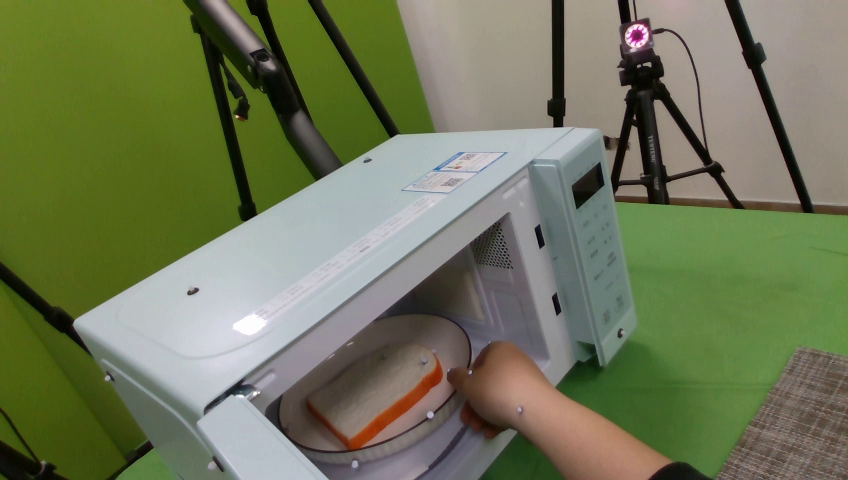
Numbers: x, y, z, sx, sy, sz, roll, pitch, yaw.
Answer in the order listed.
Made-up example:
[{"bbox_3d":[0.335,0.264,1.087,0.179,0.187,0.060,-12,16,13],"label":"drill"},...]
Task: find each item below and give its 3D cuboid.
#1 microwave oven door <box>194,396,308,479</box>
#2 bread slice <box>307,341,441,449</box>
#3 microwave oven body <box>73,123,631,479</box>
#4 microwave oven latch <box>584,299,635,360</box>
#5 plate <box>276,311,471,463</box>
[{"bbox_3d":[0.016,0.226,0.271,0.039,0.246,0.353,-33,28,-28],"label":"microwave oven door"},{"bbox_3d":[-0.049,0.153,0.628,0.131,0.019,0.104,-35,29,-25],"label":"bread slice"},{"bbox_3d":[-0.045,0.086,0.628,0.323,0.262,0.441,9,37,45],"label":"microwave oven body"},{"bbox_3d":[0.203,0.096,0.665,0.030,0.030,0.079,9,37,46],"label":"microwave oven latch"},{"bbox_3d":[-0.048,0.149,0.623,0.209,0.038,0.207,-17,24,8],"label":"plate"}]
